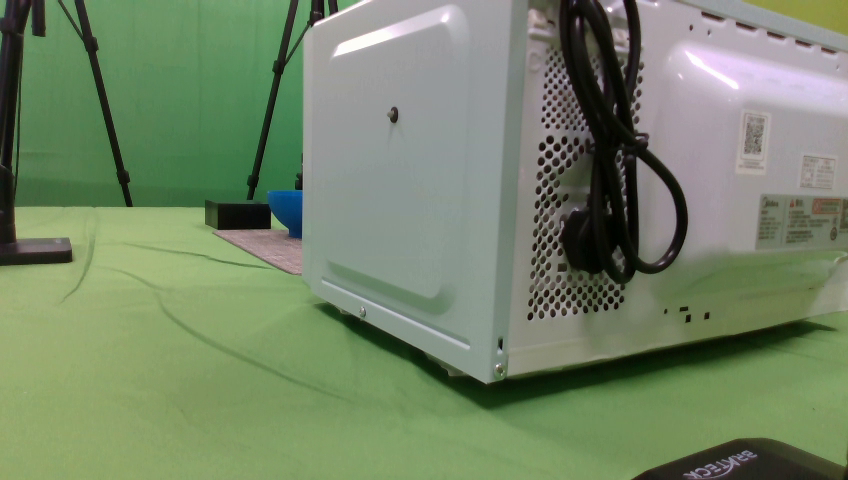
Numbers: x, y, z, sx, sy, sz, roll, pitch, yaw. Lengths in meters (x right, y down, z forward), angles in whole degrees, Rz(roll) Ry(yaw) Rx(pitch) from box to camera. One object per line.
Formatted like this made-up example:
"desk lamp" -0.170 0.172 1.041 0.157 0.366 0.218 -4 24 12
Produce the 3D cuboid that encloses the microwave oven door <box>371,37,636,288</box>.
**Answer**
"microwave oven door" 0.109 -0.080 0.687 0.358 0.243 0.039 -2 9 -33

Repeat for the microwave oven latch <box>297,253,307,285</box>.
"microwave oven latch" -0.082 0.027 0.583 0.079 0.029 0.030 -1 7 -33

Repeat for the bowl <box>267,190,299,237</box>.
"bowl" -0.202 -0.046 1.069 0.151 0.077 0.151 3 7 0

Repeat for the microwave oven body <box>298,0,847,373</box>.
"microwave oven body" 0.151 -0.055 0.543 0.444 0.260 0.324 -1 7 -33
